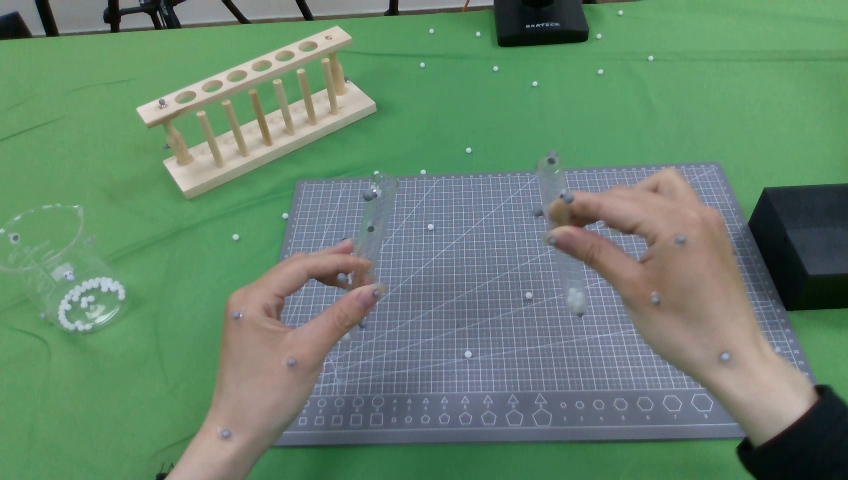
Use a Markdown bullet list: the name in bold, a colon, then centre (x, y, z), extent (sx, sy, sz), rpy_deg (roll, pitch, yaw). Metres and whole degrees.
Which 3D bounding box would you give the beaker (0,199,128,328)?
- **beaker**: centre (-0.313, 0.023, 0.534), extent (0.073, 0.101, 0.083), rpy_deg (20, 53, 20)

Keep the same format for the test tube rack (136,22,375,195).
- **test tube rack**: centre (-0.179, -0.152, 0.681), extent (0.242, 0.086, 0.066), rpy_deg (-30, 54, -20)

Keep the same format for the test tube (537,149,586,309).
- **test tube**: centre (0.090, 0.000, 0.391), extent (0.017, 0.152, 0.017), rpy_deg (-11, 49, 13)

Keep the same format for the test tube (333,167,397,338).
- **test tube**: centre (-0.041, 0.015, 0.390), extent (0.017, 0.151, 0.017), rpy_deg (11, 43, -10)
